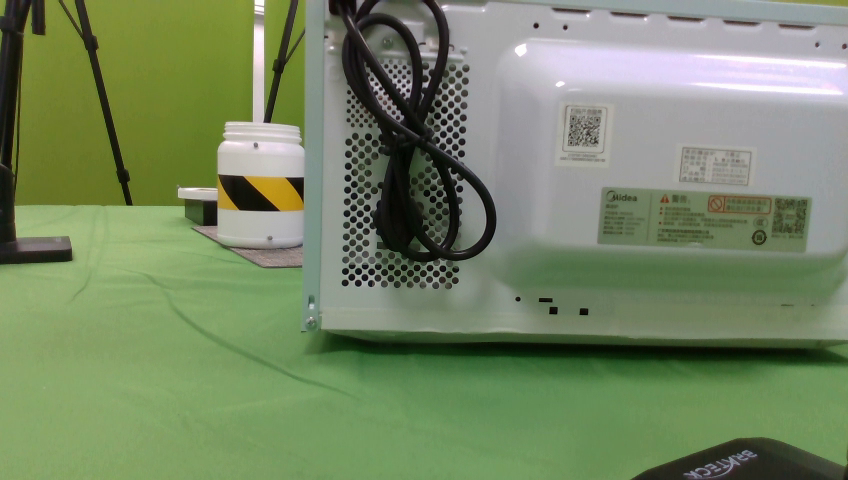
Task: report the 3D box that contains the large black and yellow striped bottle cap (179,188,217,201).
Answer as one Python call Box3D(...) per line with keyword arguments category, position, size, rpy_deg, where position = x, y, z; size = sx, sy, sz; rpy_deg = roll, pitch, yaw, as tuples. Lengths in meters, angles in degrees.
Box3D(category="large black and yellow striped bottle cap", position=(-0.434, -0.093, 1.226), size=(0.115, 0.019, 0.115), rpy_deg=(3, 9, 0))

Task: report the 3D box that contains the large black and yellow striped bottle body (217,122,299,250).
Box3D(category="large black and yellow striped bottle body", position=(-0.250, -0.084, 0.931), size=(0.131, 0.184, 0.130), rpy_deg=(2, 7, 0))

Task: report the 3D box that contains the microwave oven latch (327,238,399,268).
Box3D(category="microwave oven latch", position=(-0.069, 0.015, 0.694), size=(0.079, 0.029, 0.030), rpy_deg=(3, 7, -3))

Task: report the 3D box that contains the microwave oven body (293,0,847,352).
Box3D(category="microwave oven body", position=(0.122, -0.055, 0.550), size=(0.442, 0.260, 0.325), rpy_deg=(3, 7, -5))

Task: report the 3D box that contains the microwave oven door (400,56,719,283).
Box3D(category="microwave oven door", position=(0.155, -0.077, 0.698), size=(0.356, 0.243, 0.039), rpy_deg=(2, 8, -5))
